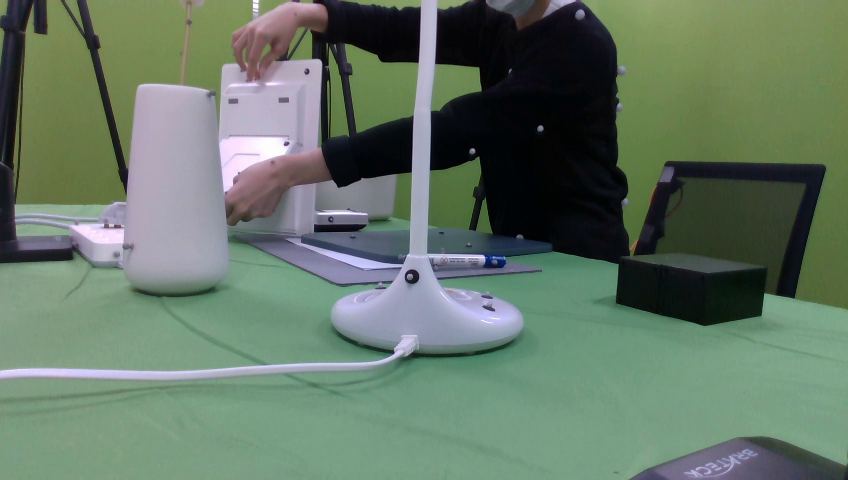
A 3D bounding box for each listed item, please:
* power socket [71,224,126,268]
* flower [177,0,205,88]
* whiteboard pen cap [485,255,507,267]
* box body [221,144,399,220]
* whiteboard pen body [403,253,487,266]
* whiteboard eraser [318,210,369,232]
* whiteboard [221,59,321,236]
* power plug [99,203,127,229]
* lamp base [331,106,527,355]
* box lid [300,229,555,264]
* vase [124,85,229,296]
[{"bbox_3d":[-0.409,0.004,0.793,0.072,0.032,0.225,-2,8,-37],"label":"power socket"},{"bbox_3d":[-0.243,-0.131,0.609,0.044,0.361,0.038,-5,-12,11],"label":"flower"},{"bbox_3d":[0.093,0.028,0.809,0.033,0.018,0.018,0,8,-23],"label":"whiteboard pen cap"},{"bbox_3d":[-0.264,-0.129,1.380,0.253,0.160,0.366,8,9,39],"label":"box body"},{"bbox_3d":[0.040,0.026,0.784,0.141,0.017,0.017,2,7,-24],"label":"whiteboard pen body"},{"bbox_3d":[-0.168,-0.037,1.172,0.113,0.042,0.055,-2,7,-35],"label":"whiteboard eraser"},{"bbox_3d":[-0.304,-0.158,1.015,0.216,0.305,0.144,4,5,25],"label":"whiteboard"},{"bbox_3d":[-0.415,-0.026,0.848,0.073,0.052,0.035,6,5,-28],"label":"power plug"},{"bbox_3d":[0.006,-0.012,0.478,0.161,0.180,0.179,2,10,2],"label":"lamp base"},{"bbox_3d":[0.011,0.006,0.998,0.374,0.015,0.262,-3,9,-43],"label":"box lid"},{"bbox_3d":[-0.244,-0.047,0.598,0.098,0.200,0.098,3,8,0],"label":"vase"}]
